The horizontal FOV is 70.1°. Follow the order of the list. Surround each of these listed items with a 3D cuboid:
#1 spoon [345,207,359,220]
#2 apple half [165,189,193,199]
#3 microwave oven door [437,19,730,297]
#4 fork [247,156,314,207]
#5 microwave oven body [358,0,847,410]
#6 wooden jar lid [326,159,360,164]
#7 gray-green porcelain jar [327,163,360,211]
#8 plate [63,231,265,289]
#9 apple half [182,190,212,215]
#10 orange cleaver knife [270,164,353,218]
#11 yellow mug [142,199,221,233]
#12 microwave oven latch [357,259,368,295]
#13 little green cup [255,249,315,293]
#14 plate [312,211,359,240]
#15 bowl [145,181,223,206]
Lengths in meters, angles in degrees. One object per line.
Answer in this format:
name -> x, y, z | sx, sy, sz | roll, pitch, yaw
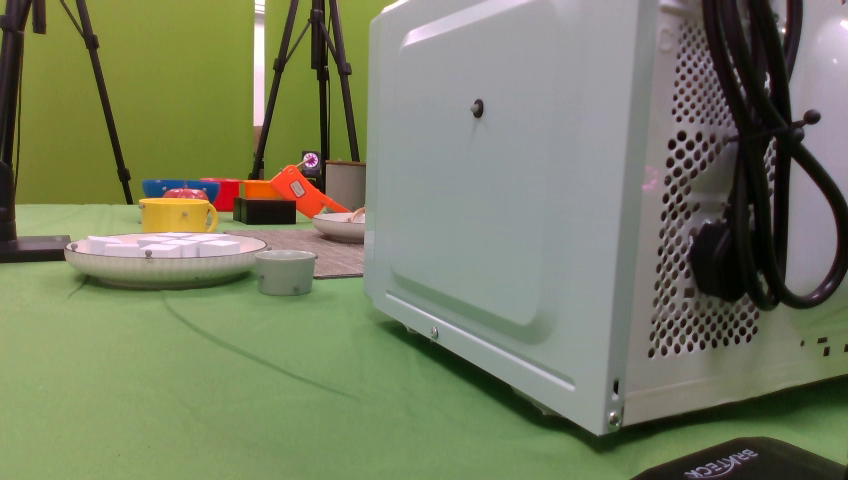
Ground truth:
spoon -> -0.126, -0.047, 1.117 | 0.041, 0.021, 0.194 | -1, 18, 14
apple half -> -0.441, -0.055, 1.097 | 0.053, 0.074, 0.081 | 0, 10, 12
microwave oven door -> 0.181, -0.076, 0.618 | 0.358, 0.243, 0.039 | -2, 9, -28
fork -> -0.360, -0.147, 1.523 | 0.207, 0.018, 0.028 | -43, 16, -7
microwave oven body -> 0.210, -0.051, 0.471 | 0.444, 0.260, 0.324 | -1, 7, -28
wooden jar lid -> -0.185, -0.187, 1.481 | 0.108, 0.020, 0.108 | 4, 6, 0
gray-green porcelain jar -> -0.186, -0.125, 1.490 | 0.106, 0.126, 0.106 | 2, 7, 0
plate -> -0.288, 0.021, 0.687 | 0.208, 0.039, 0.207 | 2, 8, 0
apple half -> -0.402, -0.054, 1.090 | 0.033, 0.081, 0.081 | 0, 7, 12
orange cleaver knife -> -0.240, -0.088, 1.329 | 0.212, 0.077, 0.012 | 36, -9, -34
yellow mug -> -0.372, -0.030, 0.948 | 0.099, 0.064, 0.131 | 6, 7, 30
microwave oven latch -> -0.019, 0.031, 0.530 | 0.079, 0.029, 0.030 | -1, 7, -27
little green cup -> -0.144, 0.031, 0.627 | 0.061, 0.038, 0.061 | 2, 6, 0
plate -> -0.091, -0.026, 1.063 | 0.209, 0.038, 0.209 | 2, 7, 0
bowl -> -0.499, -0.081, 1.261 | 0.151, 0.077, 0.151 | 2, 8, 0
